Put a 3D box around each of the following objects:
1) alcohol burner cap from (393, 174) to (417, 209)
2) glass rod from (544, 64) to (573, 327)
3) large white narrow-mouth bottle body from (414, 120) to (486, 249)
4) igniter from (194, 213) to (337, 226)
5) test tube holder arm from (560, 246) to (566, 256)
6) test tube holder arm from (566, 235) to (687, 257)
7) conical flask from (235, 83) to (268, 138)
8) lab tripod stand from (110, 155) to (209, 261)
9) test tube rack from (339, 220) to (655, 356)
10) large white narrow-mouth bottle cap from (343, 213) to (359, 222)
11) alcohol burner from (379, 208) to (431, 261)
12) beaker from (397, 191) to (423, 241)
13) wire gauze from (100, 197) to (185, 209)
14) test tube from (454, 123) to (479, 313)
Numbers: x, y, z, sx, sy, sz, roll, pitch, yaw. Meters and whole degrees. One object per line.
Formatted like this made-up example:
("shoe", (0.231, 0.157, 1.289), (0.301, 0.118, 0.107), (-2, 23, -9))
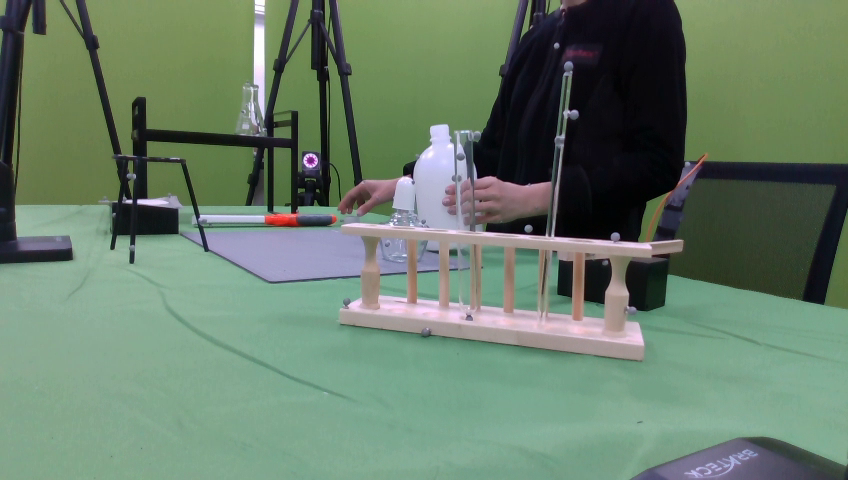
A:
("alcohol burner cap", (-0.025, -0.067, 0.834), (0.034, 0.048, 0.034), (8, 7, -1))
("glass rod", (0.101, -0.028, 0.453), (0.008, 0.199, 0.008), (1, 14, 0))
("large white narrow-mouth bottle body", (0.037, -0.088, 0.948), (0.102, 0.194, 0.102), (-8, 6, 1))
("igniter", (-0.306, -0.041, 1.197), (0.278, 0.025, 0.057), (-2, -2, -30))
("test tube holder arm", (0.173, 0.007, 0.611), (0.088, 0.015, 0.010), (-3, 9, -30))
("test tube holder arm", (0.215, 0.006, 0.630), (0.179, 0.015, 0.013), (-3, 9, -31))
("conical flask", (-0.402, -0.299, 1.406), (0.075, 0.122, 0.075), (2, 7, 0))
("lab tripod stand", (-0.361, -0.046, 0.806), (0.148, 0.131, 0.148), (2, 5, 0))
("test tube rack", (0.056, 0.032, 0.495), (0.242, 0.085, 0.067), (4, 7, 15))
("large white narrow-mouth bottle cap", (-0.155, -0.044, 1.281), (0.038, 0.024, 0.037), (2, 8, 0))
("alcohol burner", (-0.027, -0.031, 0.838), (0.078, 0.119, 0.078), (0, 6, 0))
("beaker", (-0.011, -0.051, 1.078), (0.074, 0.100, 0.083), (-2, 9, -26))
("wire gauze", (-0.469, -0.062, 1.008), (0.126, 0.011, 0.121), (-2, 8, -25))
("test tube", (0.034, -0.016, 0.476), (0.017, 0.150, 0.017), (-2, 9, 1))
